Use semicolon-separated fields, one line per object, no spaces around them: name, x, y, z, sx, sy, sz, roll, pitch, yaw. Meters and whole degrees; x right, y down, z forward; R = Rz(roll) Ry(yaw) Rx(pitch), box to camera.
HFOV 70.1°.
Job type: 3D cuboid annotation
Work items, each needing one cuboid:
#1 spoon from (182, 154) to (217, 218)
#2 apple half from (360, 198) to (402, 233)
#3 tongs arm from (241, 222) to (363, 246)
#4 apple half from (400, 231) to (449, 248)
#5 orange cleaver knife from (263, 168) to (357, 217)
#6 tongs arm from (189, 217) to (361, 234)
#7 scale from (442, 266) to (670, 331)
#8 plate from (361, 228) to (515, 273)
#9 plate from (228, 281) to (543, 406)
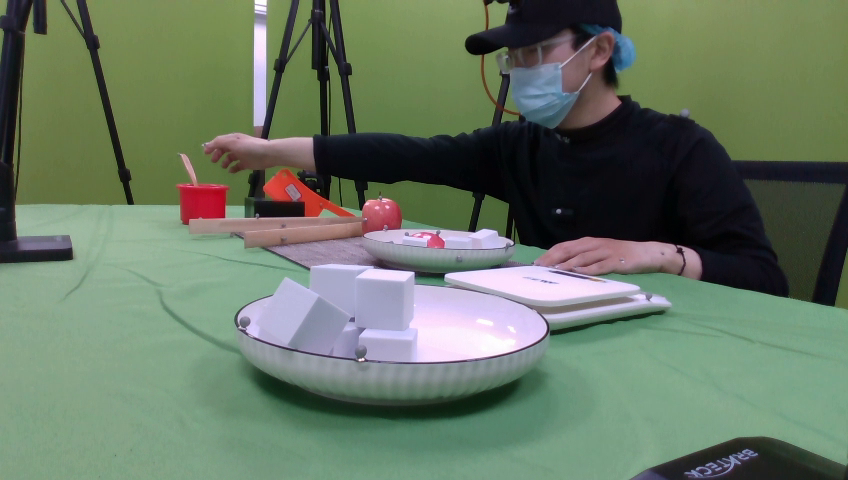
spoon;-0.455;-0.107;1.212;0.042;0.021;0.193;-6;55;-35
apple half;-0.066;-0.032;1.014;0.053;0.074;0.081;9;6;20
tongs arm;-0.159;-0.017;1.033;0.028;0.028;0.389;2;5;33
apple half;0.003;0.005;0.843;0.081;0.033;0.081;1;4;0
orange cleaver knife;-0.241;-0.078;1.296;0.212;0.077;0.012;32;-11;-26
tongs arm;-0.220;-0.027;1.088;0.387;0.026;0.050;-3;8;-43
scale;0.131;0.052;0.603;0.202;0.031;0.148;-2;9;-37
plate;0.018;0.013;0.818;0.209;0.038;0.209;2;7;0
plate;-0.025;0.067;0.413;0.208;0.039;0.207;3;7;0
